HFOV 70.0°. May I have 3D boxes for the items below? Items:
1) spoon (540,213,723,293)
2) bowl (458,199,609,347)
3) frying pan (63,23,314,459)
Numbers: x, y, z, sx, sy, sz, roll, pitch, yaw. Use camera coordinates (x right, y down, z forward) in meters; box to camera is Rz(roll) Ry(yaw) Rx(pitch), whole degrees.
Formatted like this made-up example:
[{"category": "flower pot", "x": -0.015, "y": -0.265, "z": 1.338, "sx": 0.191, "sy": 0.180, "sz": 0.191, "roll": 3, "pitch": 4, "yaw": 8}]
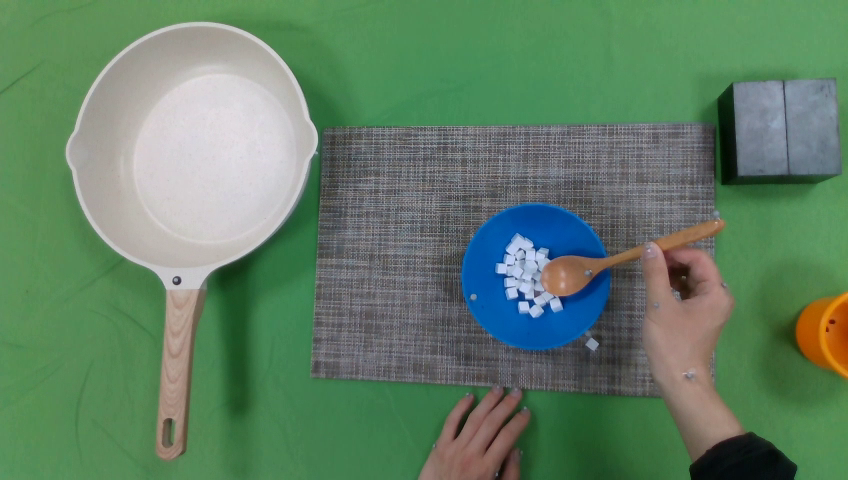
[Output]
[{"category": "spoon", "x": 0.188, "y": 0.013, "z": 0.576, "sx": 0.193, "sy": 0.022, "sz": 0.041, "roll": -26, "pitch": 79, "yaw": 48}, {"category": "bowl", "x": 0.116, "y": 0.037, "z": 0.648, "sx": 0.151, "sy": 0.077, "sz": 0.151, "roll": -1, "pitch": 85, "yaw": 8}, {"category": "frying pan", "x": -0.271, "y": -0.004, "z": 0.697, "sx": 0.306, "sy": 0.103, "sz": 0.485, "roll": -1, "pitch": 77, "yaw": 9}]
